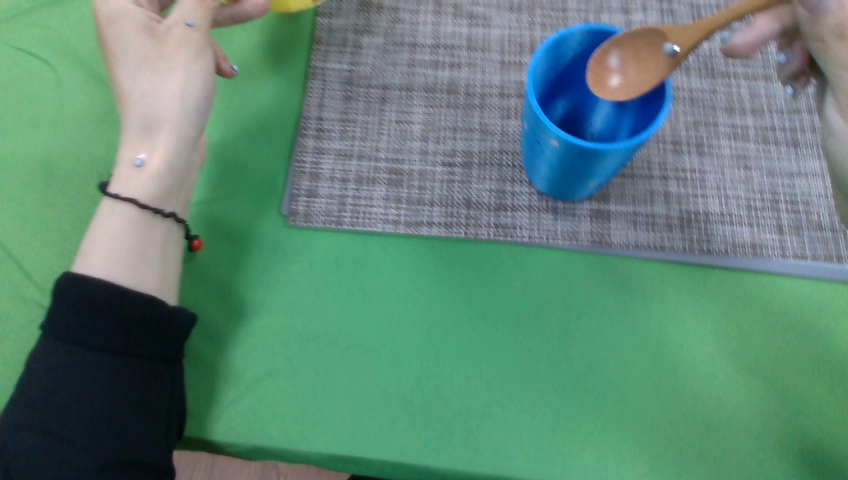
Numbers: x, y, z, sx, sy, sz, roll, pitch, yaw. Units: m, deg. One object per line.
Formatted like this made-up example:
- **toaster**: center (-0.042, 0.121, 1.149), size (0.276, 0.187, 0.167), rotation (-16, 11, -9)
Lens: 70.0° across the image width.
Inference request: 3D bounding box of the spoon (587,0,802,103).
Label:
- **spoon**: center (0.157, -0.109, 0.293), size (0.022, 0.193, 0.041), rotation (5, 82, -30)

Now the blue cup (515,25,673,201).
- **blue cup**: center (0.103, -0.073, 0.399), size (0.092, 0.101, 0.092), rotation (0, 69, 1)

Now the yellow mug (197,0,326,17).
- **yellow mug**: center (-0.109, -0.205, 0.410), size (0.099, 0.064, 0.130), rotation (32, 72, 8)
